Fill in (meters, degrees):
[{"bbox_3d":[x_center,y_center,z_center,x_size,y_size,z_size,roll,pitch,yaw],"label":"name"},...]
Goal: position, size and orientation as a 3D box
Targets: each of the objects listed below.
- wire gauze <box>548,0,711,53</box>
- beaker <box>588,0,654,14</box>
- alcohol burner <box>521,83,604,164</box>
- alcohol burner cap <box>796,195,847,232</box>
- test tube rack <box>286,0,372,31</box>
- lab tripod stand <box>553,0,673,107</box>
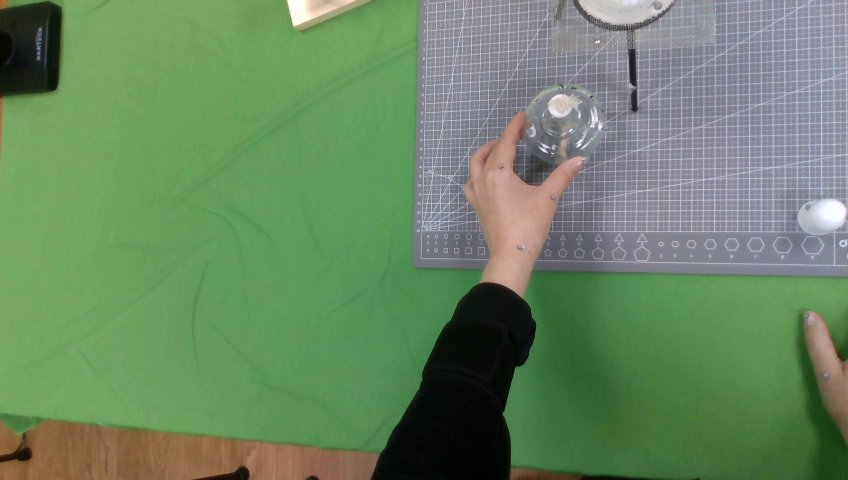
[{"bbox_3d":[0.161,-0.211,0.481,0.125,0.011,0.121,0,90,14],"label":"wire gauze"},{"bbox_3d":[0.142,-0.215,0.436,0.083,0.101,0.074,14,91,17],"label":"beaker"},{"bbox_3d":[0.128,-0.113,0.565,0.077,0.119,0.078,-1,86,15],"label":"alcohol burner"},{"bbox_3d":[0.351,-0.025,0.531,0.034,0.048,0.034,-1,86,17],"label":"alcohol burner cap"},{"bbox_3d":[-0.058,-0.314,0.649,0.242,0.085,0.066,-17,82,15],"label":"test tube rack"},{"bbox_3d":[0.180,-0.206,0.544,0.148,0.132,0.148,-1,88,15],"label":"lab tripod stand"}]
